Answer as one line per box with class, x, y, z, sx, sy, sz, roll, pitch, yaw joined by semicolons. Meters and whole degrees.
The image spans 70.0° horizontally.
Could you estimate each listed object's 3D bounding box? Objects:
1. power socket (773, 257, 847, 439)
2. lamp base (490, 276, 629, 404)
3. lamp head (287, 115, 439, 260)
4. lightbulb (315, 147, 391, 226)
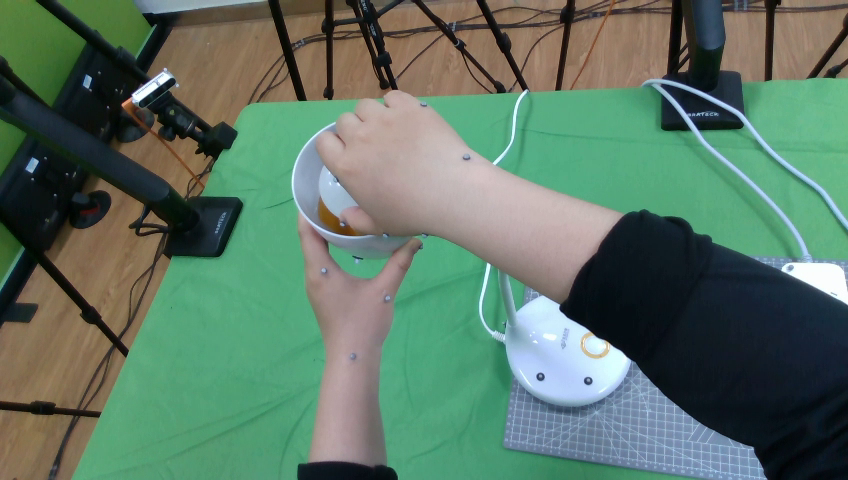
power socket;0.466;0.119;0.720;0.072;0.033;0.225;2;58;17
lamp base;0.153;0.096;0.737;0.178;0.182;0.159;-4;57;18
lamp head;-0.045;-0.031;0.532;0.112;0.124;0.111;-4;67;10
lightbulb;-0.053;-0.037;0.505;0.059;0.108;0.059;-2;74;7
